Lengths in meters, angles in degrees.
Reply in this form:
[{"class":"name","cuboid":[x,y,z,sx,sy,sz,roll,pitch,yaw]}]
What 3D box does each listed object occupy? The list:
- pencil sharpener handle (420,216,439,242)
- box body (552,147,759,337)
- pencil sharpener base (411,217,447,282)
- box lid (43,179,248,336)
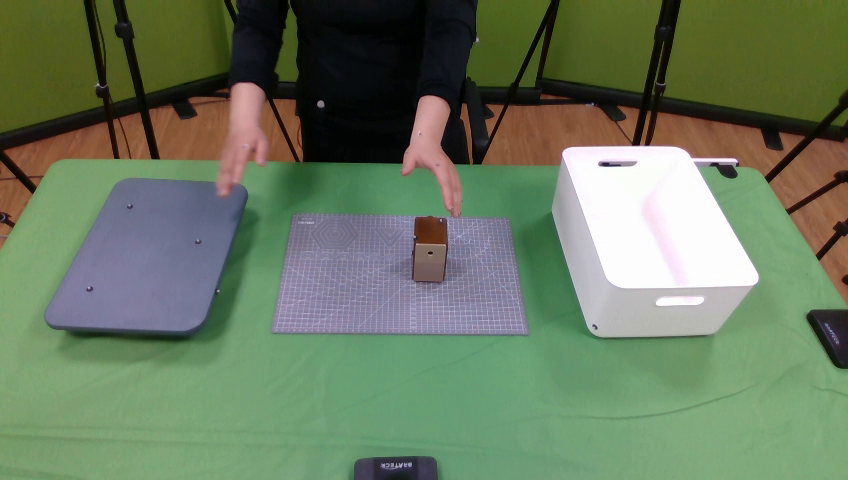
[{"class":"pencil sharpener handle","cuboid":[0.007,-0.027,1.145,0.036,0.068,0.030,6,45,-6]},{"class":"box body","cuboid":[0.400,-0.001,1.131,0.254,0.161,0.361,-1,46,-5]},{"class":"pencil sharpener base","cuboid":[0.009,0.017,1.118,0.061,0.107,0.076,1,45,-2]},{"class":"box lid","cuboid":[-0.484,0.017,1.093,0.263,0.015,0.369,2,46,-2]}]
